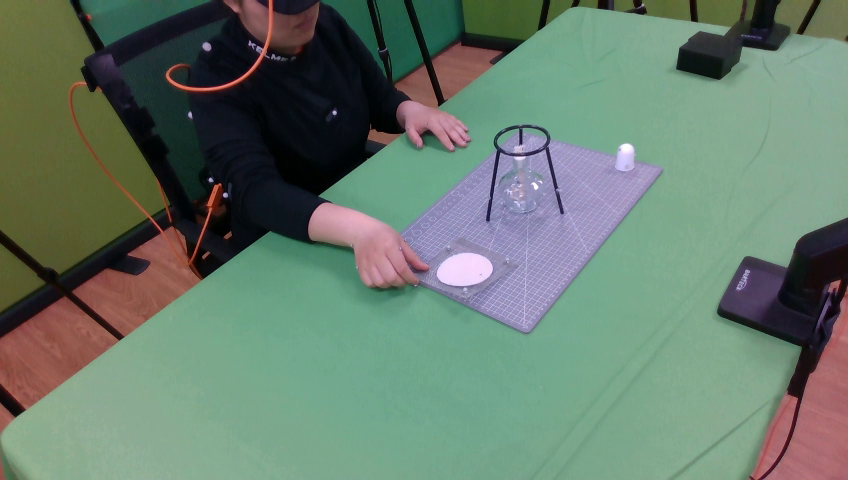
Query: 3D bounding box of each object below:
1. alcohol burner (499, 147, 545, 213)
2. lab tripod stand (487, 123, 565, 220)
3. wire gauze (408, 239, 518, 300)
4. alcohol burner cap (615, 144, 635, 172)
[{"bbox_3d":[0.161,-0.104,1.001,0.078,0.120,0.077,-6,42,6],"label":"alcohol burner"},{"bbox_3d":[0.162,-0.110,0.992,0.148,0.132,0.147,-5,42,5],"label":"lab tripod stand"},{"bbox_3d":[0.059,0.044,0.922,0.125,0.011,0.120,-32,39,-33],"label":"wire gauze"},{"bbox_3d":[0.357,-0.147,1.069,0.034,0.048,0.033,-7,41,6],"label":"alcohol burner cap"}]
